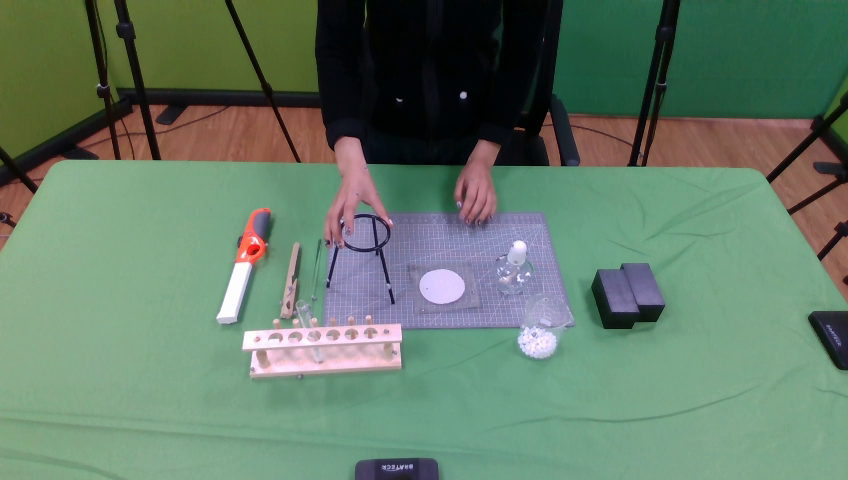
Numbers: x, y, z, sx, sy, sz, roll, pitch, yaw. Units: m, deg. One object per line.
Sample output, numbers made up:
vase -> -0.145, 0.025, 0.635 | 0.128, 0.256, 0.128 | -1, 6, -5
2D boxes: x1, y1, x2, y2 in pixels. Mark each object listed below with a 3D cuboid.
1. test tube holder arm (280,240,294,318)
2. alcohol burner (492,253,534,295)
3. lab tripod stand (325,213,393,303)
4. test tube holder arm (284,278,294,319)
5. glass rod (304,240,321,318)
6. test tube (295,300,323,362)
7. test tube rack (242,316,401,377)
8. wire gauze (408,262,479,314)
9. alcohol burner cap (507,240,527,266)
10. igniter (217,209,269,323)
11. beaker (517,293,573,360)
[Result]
test tube holder arm -> -0.251, 0.068, 1.113 | 0.013, 0.015, 0.177 | 28, 37, -33
alcohol burner -> 0.165, 0.045, 1.103 | 0.078, 0.119, 0.077 | 3, 47, -3
lab tripod stand -> -0.104, 0.031, 1.080 | 0.148, 0.132, 0.147 | 4, 45, -3
test tube holder arm -> -0.243, 0.103, 1.085 | 0.010, 0.015, 0.087 | 30, 36, -31
glass rod -> -0.207, 0.068, 1.128 | 0.008, 0.008, 0.198 | 2, 43, -2
test tube -> -0.176, 0.143, 0.935 | 0.017, 0.151, 0.017 | -2, 46, 2
test tube rack -> -0.161, 0.166, 0.983 | 0.242, 0.085, 0.066 | -2, 46, -6
wire gauze -> 0.035, 0.085, 1.127 | 0.121, 0.011, 0.124 | -2, 43, -6
alcohol burner cap -> 0.167, 0.021, 1.075 | 0.034, 0.048, 0.033 | 0, 55, 0
igniter -> -0.335, 0.039, 1.132 | 0.057, 0.025, 0.275 | -4, 46, 6
beaker -> 0.200, 0.149, 1.018 | 0.084, 0.101, 0.073 | 14, 47, 8
